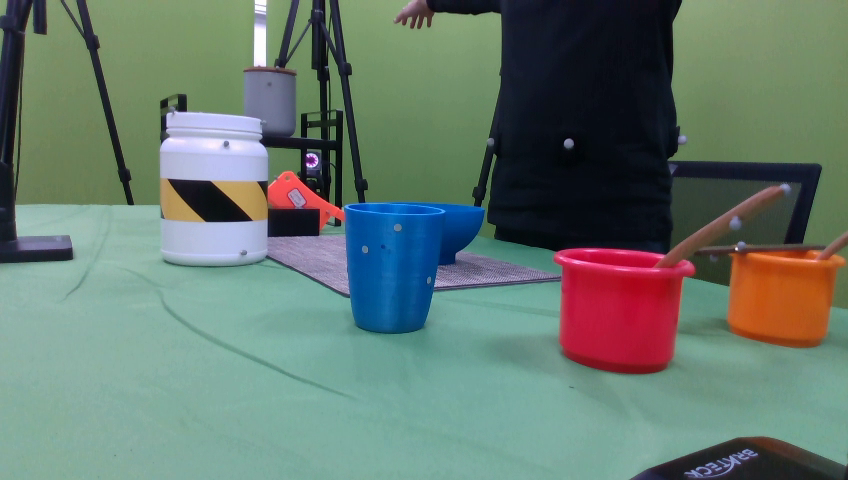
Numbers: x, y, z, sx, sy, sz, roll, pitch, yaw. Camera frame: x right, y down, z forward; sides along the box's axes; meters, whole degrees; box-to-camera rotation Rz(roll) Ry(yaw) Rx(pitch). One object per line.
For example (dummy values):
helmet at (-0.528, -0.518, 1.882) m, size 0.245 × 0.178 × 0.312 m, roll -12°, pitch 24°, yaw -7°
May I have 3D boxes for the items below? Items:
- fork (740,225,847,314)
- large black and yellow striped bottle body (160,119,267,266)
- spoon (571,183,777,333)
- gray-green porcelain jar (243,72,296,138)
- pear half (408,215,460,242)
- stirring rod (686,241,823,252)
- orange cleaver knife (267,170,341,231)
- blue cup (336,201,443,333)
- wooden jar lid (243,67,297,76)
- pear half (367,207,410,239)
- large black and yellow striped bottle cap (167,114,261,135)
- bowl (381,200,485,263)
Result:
fork at (0.323, 0.013, 0.485) m, size 0.028 × 0.018 × 0.207 m, roll 8°, pitch -38°, yaw -6°
large black and yellow striped bottle body at (-0.272, -0.065, 0.789) m, size 0.131 × 0.184 × 0.130 m, roll 2°, pitch 7°, yaw 0°
spoon at (0.161, 0.020, 0.413) m, size 0.042 × 0.021 × 0.193 m, roll 1°, pitch -36°, yaw -24°
gray-green porcelain jar at (-0.322, -0.279, 1.263) m, size 0.106 × 0.126 × 0.106 m, roll 3°, pitch 8°, yaw 0°
pear half at (0.011, -0.019, 0.848) m, size 0.070 × 0.031 × 0.088 m, roll 5°, pitch 12°, yaw 33°
stirring rod at (0.289, 0.005, 0.525) m, size 0.177 × 0.006 × 0.014 m, roll -1°, pitch 5°, yaw -26°
orange cleaver knife at (-0.201, -0.057, 1.137) m, size 0.212 × 0.077 × 0.012 m, roll 31°, pitch 2°, yaw -31°
blue cup at (-0.029, 0.021, 0.508) m, size 0.093 × 0.100 × 0.092 m, roll 3°, pitch 9°, yaw 0°
wooden jar lid at (-0.319, -0.342, 1.254) m, size 0.108 × 0.020 × 0.108 m, roll 3°, pitch 8°, yaw 0°
pear half at (-0.067, -0.027, 1.057) m, size 0.076 × 0.056 × 0.110 m, roll -1°, pitch 9°, yaw 19°
large black and yellow striped bottle cap at (-0.269, -0.148, 0.779) m, size 0.115 × 0.019 × 0.115 m, roll 4°, pitch 8°, yaw 0°
bowl at (0.008, -0.012, 0.842) m, size 0.151 × 0.077 × 0.151 m, roll 2°, pitch 8°, yaw 0°
